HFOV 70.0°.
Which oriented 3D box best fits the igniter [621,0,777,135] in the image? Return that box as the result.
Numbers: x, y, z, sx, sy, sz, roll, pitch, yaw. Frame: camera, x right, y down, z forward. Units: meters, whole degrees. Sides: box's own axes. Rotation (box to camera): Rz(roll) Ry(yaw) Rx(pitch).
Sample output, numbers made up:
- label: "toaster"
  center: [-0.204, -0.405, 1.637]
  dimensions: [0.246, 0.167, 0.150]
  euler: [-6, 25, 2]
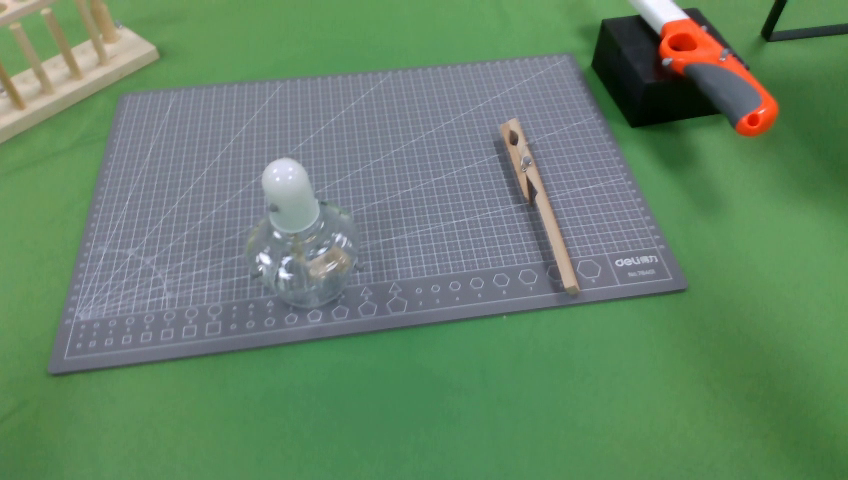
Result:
- label: "igniter"
  center: [0.228, -0.185, 0.546]
  dimensions: [0.057, 0.025, 0.273]
  euler: [-13, 50, -6]

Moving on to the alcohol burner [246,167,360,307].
- label: "alcohol burner"
  center: [-0.084, -0.007, 0.407]
  dimensions: [0.078, 0.120, 0.077]
  euler: [0, 53, 1]

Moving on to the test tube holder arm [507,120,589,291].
- label: "test tube holder arm"
  center: [0.096, -0.034, 0.487]
  dimensions: [0.013, 0.015, 0.176]
  euler: [-33, 49, 21]

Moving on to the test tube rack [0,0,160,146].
- label: "test tube rack"
  center: [-0.376, -0.156, 0.549]
  dimensions: [0.066, 0.086, 0.242]
  euler: [34, 59, 24]

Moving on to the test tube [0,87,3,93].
- label: "test tube"
  center: [-0.398, -0.190, 0.513]
  dimensions: [0.017, 0.151, 0.017]
  euler: [0, 47, 0]

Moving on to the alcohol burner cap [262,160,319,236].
- label: "alcohol burner cap"
  center: [-0.086, -0.029, 0.378]
  dimensions: [0.034, 0.048, 0.033]
  euler: [0, 54, 0]

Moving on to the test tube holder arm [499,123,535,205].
- label: "test tube holder arm"
  center: [0.082, -0.066, 0.516]
  dimensions: [0.010, 0.015, 0.087]
  euler: [-32, 50, 23]
